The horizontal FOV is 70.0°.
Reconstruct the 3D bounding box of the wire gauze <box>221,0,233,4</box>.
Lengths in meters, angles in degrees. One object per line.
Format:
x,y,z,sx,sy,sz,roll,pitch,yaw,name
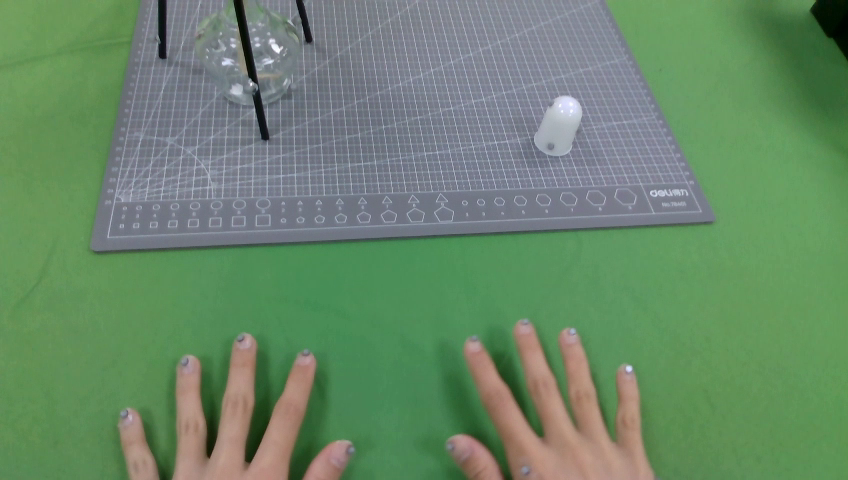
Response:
-0.134,-0.213,0.390,0.124,0.011,0.121,32,60,9,wire gauze

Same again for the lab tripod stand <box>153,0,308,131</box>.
-0.139,-0.176,0.443,0.149,0.132,0.147,5,55,-7,lab tripod stand

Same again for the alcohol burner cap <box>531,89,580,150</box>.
0.107,-0.098,0.482,0.034,0.048,0.033,4,54,-5,alcohol burner cap

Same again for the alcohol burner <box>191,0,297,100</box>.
-0.134,-0.164,0.448,0.078,0.120,0.077,5,53,-6,alcohol burner
